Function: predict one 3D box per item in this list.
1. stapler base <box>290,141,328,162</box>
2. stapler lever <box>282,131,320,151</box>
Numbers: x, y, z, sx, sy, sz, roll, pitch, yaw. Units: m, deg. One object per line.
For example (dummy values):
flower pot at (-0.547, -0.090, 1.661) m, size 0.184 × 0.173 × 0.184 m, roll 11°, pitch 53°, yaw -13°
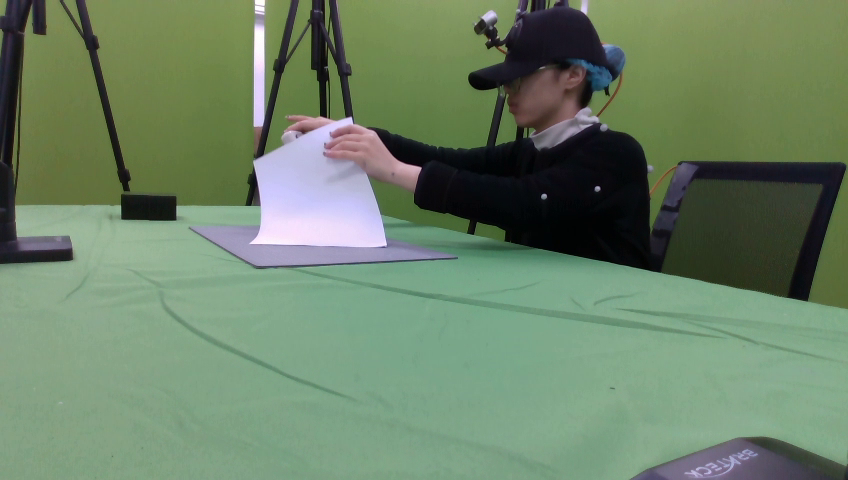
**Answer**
stapler base at (-0.245, -0.191, 1.267) m, size 0.041 × 0.024 × 0.131 m, roll -29°, pitch 7°, yaw 20°
stapler lever at (-0.258, -0.211, 1.266) m, size 0.027 × 0.040 × 0.118 m, roll -29°, pitch 7°, yaw 20°
